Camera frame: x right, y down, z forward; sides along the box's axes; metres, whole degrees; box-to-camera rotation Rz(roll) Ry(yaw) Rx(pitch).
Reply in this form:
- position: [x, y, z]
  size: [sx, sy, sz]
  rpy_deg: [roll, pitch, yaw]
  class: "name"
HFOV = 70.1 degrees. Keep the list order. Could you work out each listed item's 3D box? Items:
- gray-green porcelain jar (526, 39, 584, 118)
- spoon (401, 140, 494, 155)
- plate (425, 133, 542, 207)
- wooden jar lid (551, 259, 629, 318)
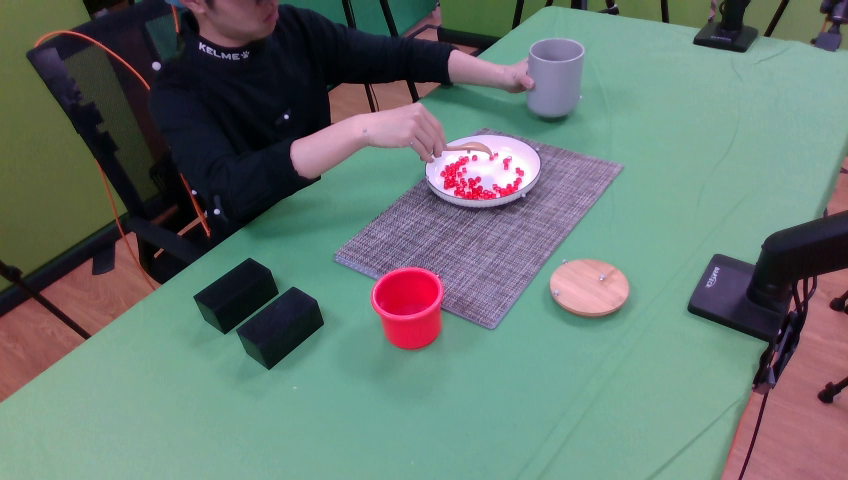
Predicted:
- position: [0.256, -0.314, 1.194]
  size: [0.106, 0.127, 0.105]
  rpy_deg: [-2, 43, 2]
  class: "gray-green porcelain jar"
- position: [0.043, -0.155, 1.018]
  size: [0.195, 0.021, 0.041]
  rpy_deg: [-5, 19, -37]
  class: "spoon"
- position: [0.106, -0.122, 1.079]
  size: [0.207, 0.039, 0.206]
  rpy_deg: [-4, 41, 4]
  class: "plate"
- position: [0.234, 0.070, 0.857]
  size: [0.108, 0.021, 0.108]
  rpy_deg: [-5, 40, 5]
  class: "wooden jar lid"
